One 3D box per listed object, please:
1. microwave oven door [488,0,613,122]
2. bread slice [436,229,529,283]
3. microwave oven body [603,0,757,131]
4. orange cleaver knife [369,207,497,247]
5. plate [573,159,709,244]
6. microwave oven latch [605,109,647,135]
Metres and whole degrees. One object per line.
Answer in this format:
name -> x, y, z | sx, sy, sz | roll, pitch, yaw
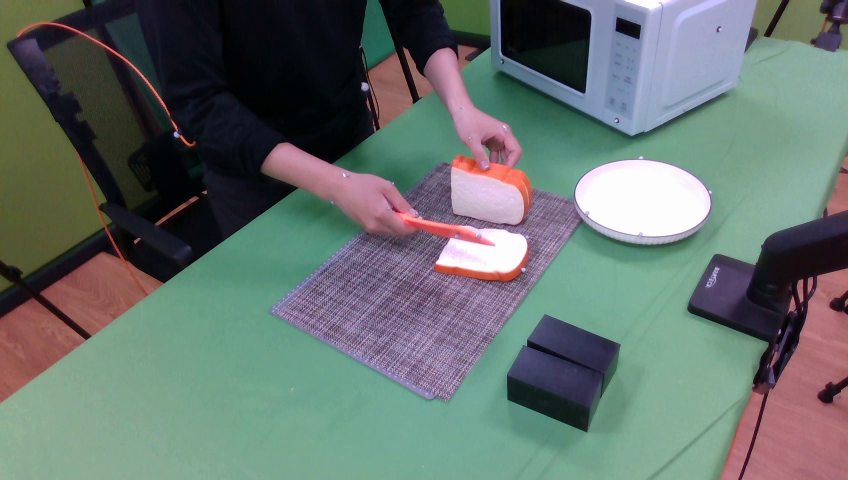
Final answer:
microwave oven door -> 0.250, -0.412, 1.219 | 0.039, 0.245, 0.352 | -27, 44, -21
bread slice -> 0.093, 0.024, 0.929 | 0.133, 0.018, 0.107 | 7, 47, 29
microwave oven body -> 0.396, -0.448, 1.248 | 0.327, 0.261, 0.437 | -27, 44, -21
orange cleaver knife -> 0.008, -0.018, 0.868 | 0.209, 0.078, 0.012 | 14, 80, 41
plate -> 0.347, -0.059, 0.979 | 0.207, 0.039, 0.206 | -4, 41, 4
microwave oven latch -> 0.378, -0.225, 1.139 | 0.030, 0.029, 0.078 | -26, 43, -19
